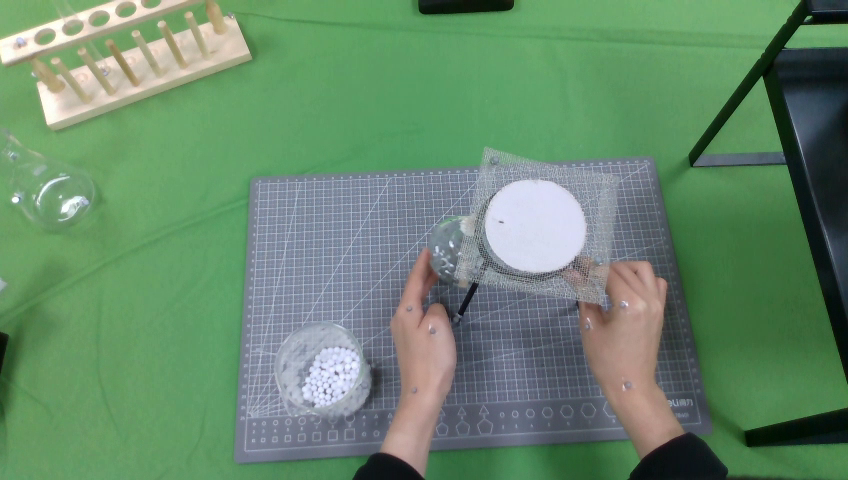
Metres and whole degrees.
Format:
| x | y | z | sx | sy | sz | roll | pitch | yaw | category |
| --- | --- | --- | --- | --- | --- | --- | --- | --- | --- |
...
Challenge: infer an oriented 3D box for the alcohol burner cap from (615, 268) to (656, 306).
| x | y | z | sx | sy | sz | roll | pitch | yaw | category |
| --- | --- | --- | --- | --- | --- | --- | --- | --- | --- |
| 0.213 | 0.044 | 0.604 | 0.034 | 0.048 | 0.033 | 0 | 69 | 1 | alcohol burner cap |

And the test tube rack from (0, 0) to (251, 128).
| x | y | z | sx | sy | sz | roll | pitch | yaw | category |
| --- | --- | --- | --- | --- | --- | --- | --- | --- | --- |
| -0.333 | -0.219 | 0.689 | 0.242 | 0.086 | 0.066 | -23 | 70 | -8 | test tube rack |

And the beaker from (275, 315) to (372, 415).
| x | y | z | sx | sy | sz | roll | pitch | yaw | category |
| --- | --- | --- | --- | --- | --- | --- | --- | --- | --- |
| -0.087 | 0.120 | 0.546 | 0.074 | 0.101 | 0.083 | 25 | 71 | 11 | beaker |

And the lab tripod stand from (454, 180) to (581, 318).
| x | y | z | sx | sy | sz | roll | pitch | yaw | category |
| --- | --- | --- | --- | --- | --- | --- | --- | --- | --- |
| 0.091 | 0.013 | 0.568 | 0.148 | 0.132 | 0.147 | 0 | 67 | -1 | lab tripod stand |

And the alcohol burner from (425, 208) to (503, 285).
| x | y | z | sx | sy | sz | roll | pitch | yaw | category |
| --- | --- | --- | --- | --- | --- | --- | --- | --- | --- |
| 0.040 | 0.000 | 0.584 | 0.078 | 0.120 | 0.077 | 1 | 67 | -1 | alcohol burner |

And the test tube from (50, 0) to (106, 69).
| x | y | z | sx | sy | sz | roll | pitch | yaw | category |
| --- | --- | --- | --- | --- | --- | --- | --- | --- | --- |
| -0.377 | -0.239 | 0.644 | 0.017 | 0.151 | 0.017 | 0 | 62 | 0 | test tube |

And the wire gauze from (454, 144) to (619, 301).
| x | y | z | sx | sy | sz | roll | pitch | yaw | category |
| --- | --- | --- | --- | --- | --- | --- | --- | --- | --- |
| 0.097 | -0.017 | 0.507 | 0.121 | 0.011 | 0.124 | 13 | 70 | 4 | wire gauze |

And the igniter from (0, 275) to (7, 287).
| x | y | z | sx | sy | sz | roll | pitch | yaw | category |
| --- | --- | --- | --- | --- | --- | --- | --- | --- | --- |
| -0.479 | 0.140 | 0.532 | 0.057 | 0.025 | 0.275 | 24 | 70 | 20 | igniter |

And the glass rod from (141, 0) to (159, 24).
| x | y | z | sx | sy | sz | roll | pitch | yaw | category |
| --- | --- | --- | --- | --- | --- | --- | --- | --- | --- |
| -0.313 | -0.278 | 0.641 | 0.008 | 0.201 | 0.008 | -3 | 62 | 6 | glass rod |

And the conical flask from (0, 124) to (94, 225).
| x | y | z | sx | sy | sz | roll | pitch | yaw | category |
| --- | --- | --- | --- | --- | --- | --- | --- | --- | --- |
| -0.399 | -0.070 | 0.612 | 0.075 | 0.122 | 0.075 | 0 | 68 | 1 | conical flask |
